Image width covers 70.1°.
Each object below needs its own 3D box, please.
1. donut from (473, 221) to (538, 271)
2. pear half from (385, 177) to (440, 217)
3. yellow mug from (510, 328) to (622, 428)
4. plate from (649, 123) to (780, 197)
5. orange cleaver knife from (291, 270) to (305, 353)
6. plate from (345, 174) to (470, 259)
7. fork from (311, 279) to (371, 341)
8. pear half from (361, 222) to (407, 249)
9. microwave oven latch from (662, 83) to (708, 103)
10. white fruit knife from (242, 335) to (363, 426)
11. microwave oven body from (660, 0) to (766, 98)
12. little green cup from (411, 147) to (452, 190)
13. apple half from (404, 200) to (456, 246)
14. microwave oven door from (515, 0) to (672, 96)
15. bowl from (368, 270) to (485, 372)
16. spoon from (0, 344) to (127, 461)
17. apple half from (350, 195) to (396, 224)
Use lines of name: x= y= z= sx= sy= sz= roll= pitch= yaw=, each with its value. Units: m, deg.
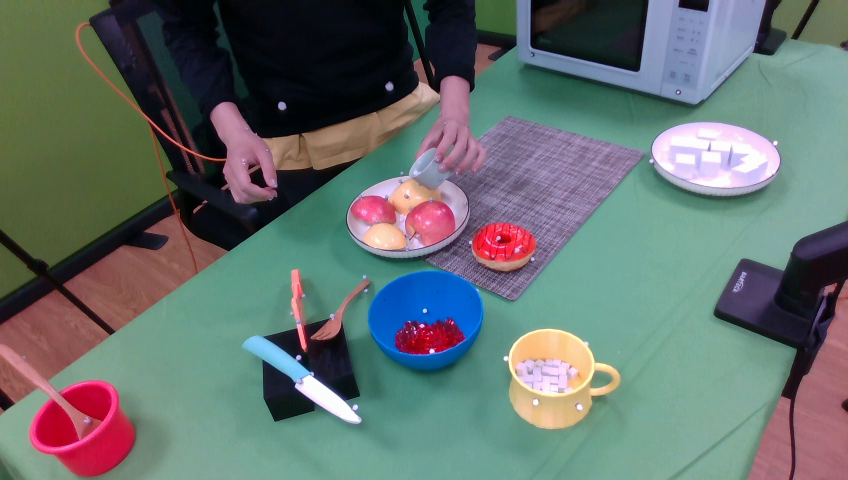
donut: x=0.123 y=0.008 z=0.923 sx=0.099 sy=0.048 sz=0.098 roll=-3 pitch=38 yaw=3
pear half: x=-0.030 y=-0.079 z=1.033 sx=0.109 sy=0.056 sz=0.076 roll=0 pitch=36 yaw=15
yellow mug: x=0.168 y=0.164 z=0.722 sx=0.130 sy=0.064 sz=0.099 roll=0 pitch=40 yaw=8
plate: x=0.497 y=-0.135 z=1.046 sx=0.207 sy=0.039 sz=0.206 roll=-4 pitch=40 yaw=4
orange cleaver knife: x=-0.175 y=0.094 z=0.844 sx=0.012 sy=0.077 sz=0.210 roll=-11 pitch=14 yaw=-10
plate: x=-0.026 y=-0.037 z=1.004 sx=0.209 sy=0.038 sz=0.208 roll=-4 pitch=40 yaw=4
fork: x=-0.108 y=0.092 z=0.832 sx=0.028 sy=0.019 sz=0.207 roll=-6 pitch=19 yaw=15
pear half: x=-0.063 y=-0.012 z=0.958 sx=0.071 sy=0.031 sz=0.087 roll=2 pitch=24 yaw=-25
microwave oven latch: x=0.517 y=-0.296 z=1.204 sx=0.078 sy=0.029 sz=0.030 roll=28 pitch=52 yaw=35
white fruit knife: x=-0.148 y=0.167 z=0.730 sx=0.206 sy=0.016 sz=0.027 roll=26 pitch=80 yaw=31
microwave oven body: x=0.472 y=-0.513 z=1.317 sx=0.438 sy=0.261 sz=0.327 roll=26 pitch=51 yaw=34
little green cup: x=0.013 y=-0.110 z=0.947 sx=0.061 sy=0.039 sz=0.061 roll=-40 pitch=24 yaw=22
apple half: x=0.009 y=-0.035 z=0.969 sx=0.075 sy=0.053 sz=0.080 roll=-27 pitch=40 yaw=-22
microwave oven door: x=0.343 y=-0.454 z=1.259 sx=0.353 sy=0.245 sz=0.039 roll=26 pitch=51 yaw=33
bowl: x=0.007 y=0.118 z=0.791 sx=0.151 sy=0.077 sz=0.150 roll=-5 pitch=40 yaw=4
spoon: x=-0.433 y=0.191 z=0.720 sx=0.194 sy=0.021 sz=0.042 roll=47 pitch=52 yaw=-6
apple half: x=-0.080 y=-0.056 z=1.008 sx=0.081 sy=0.033 sz=0.081 roll=10 pitch=24 yaw=-4
